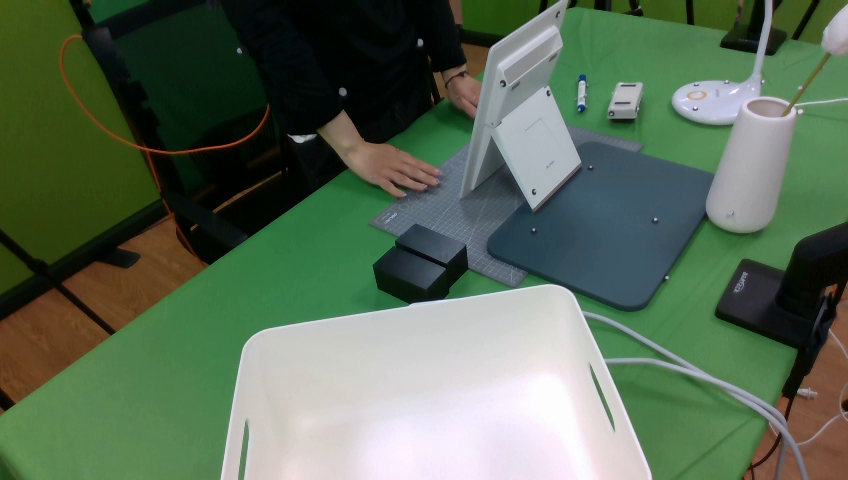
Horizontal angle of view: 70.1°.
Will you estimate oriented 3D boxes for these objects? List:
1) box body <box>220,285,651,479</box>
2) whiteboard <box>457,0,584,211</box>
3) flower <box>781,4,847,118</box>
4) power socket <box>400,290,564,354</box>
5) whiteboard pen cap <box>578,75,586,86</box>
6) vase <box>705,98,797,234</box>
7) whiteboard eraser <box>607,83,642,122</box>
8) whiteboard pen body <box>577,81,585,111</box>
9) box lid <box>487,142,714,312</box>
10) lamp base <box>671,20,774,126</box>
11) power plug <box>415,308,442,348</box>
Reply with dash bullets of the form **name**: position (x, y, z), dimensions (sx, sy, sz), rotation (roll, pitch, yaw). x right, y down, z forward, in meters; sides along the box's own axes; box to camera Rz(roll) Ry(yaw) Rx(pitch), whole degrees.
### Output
- **box body**: position (0.005, 0.211, 0.616), dimensions (0.364, 0.161, 0.252), rotation (-9, 40, -2)
- **whiteboard**: position (0.193, -0.191, 0.983), dimensions (0.143, 0.306, 0.218), rotation (36, 55, 21)
- **flower**: position (0.480, -0.157, 0.824), dimensions (0.044, 0.362, 0.038), rotation (-8, 56, -9)
- **power socket**: position (0.079, 0.111, 0.823), dimensions (0.227, 0.033, 0.072), rotation (-6, 41, 1)
- **whiteboard pen cap**: position (0.349, -0.351, 1.334), dimensions (0.018, 0.018, 0.033), rotation (3, 39, 12)
- **vase**: position (0.480, -0.104, 0.888), dimensions (0.098, 0.201, 0.097), rotation (-4, 42, 4)
- **whiteboard eraser**: position (0.406, -0.277, 1.222), dimensions (0.055, 0.042, 0.112), rotation (9, 43, 22)
- **whiteboard pen body**: position (0.335, -0.313, 1.292), dimensions (0.017, 0.017, 0.140), rotation (3, 40, 12)
- **box lid**: position (0.298, -0.041, 0.986), dimensions (0.261, 0.015, 0.372), rotation (23, 49, 30)
- **lamp base**: position (0.581, -0.332, 1.154), dimensions (0.179, 0.181, 0.160), rotation (2, 41, 7)
- **power plug**: position (0.004, 0.121, 0.786), dimensions (0.035, 0.053, 0.072), rotation (1, 45, 8)
